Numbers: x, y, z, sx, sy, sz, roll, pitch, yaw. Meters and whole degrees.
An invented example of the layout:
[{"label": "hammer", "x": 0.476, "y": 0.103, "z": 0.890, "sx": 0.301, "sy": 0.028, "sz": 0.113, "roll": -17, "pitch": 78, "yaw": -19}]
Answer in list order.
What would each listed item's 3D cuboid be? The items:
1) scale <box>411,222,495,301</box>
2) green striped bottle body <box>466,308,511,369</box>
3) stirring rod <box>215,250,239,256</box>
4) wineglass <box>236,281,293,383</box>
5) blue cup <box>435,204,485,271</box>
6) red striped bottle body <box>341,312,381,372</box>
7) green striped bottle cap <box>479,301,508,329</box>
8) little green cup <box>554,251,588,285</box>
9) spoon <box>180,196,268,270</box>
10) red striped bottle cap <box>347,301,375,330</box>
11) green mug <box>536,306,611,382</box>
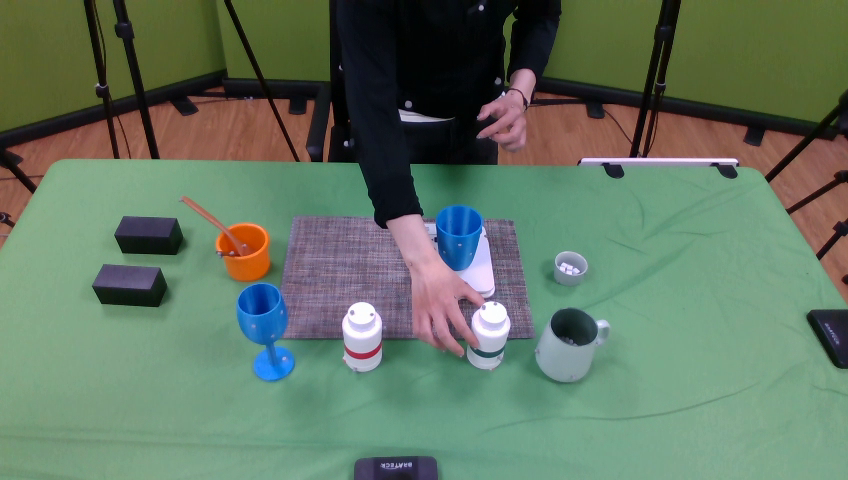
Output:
[{"label": "scale", "x": 0.052, "y": 0.031, "z": 1.158, "sx": 0.149, "sy": 0.032, "sz": 0.199, "roll": 1, "pitch": 46, "yaw": -4}, {"label": "green striped bottle body", "x": 0.105, "y": 0.154, "z": 0.987, "sx": 0.063, "sy": 0.120, "sz": 0.063, "roll": 2, "pitch": 46, "yaw": -2}, {"label": "stirring rod", "x": -0.339, "y": 0.024, "z": 1.059, "sx": 0.014, "sy": 0.176, "sz": 0.006, "roll": 16, "pitch": 86, "yaw": -6}, {"label": "wineglass", "x": -0.243, "y": 0.143, "z": 0.934, "sx": 0.074, "sy": 0.173, "sz": 0.073, "roll": 2, "pitch": 46, "yaw": -2}, {"label": "blue cup", "x": 0.061, "y": 0.001, "z": 1.097, "sx": 0.092, "sy": 0.101, "sz": 0.092, "roll": 0, "pitch": 43, "yaw": 0}, {"label": "red striped bottle body", "x": -0.100, "y": 0.154, "z": 0.972, "sx": 0.063, "sy": 0.120, "sz": 0.062, "roll": 2, "pitch": 46, "yaw": -2}, {"label": "green striped bottle cap", "x": 0.109, "y": 0.118, "z": 0.950, "sx": 0.044, "sy": 0.020, "sz": 0.044, "roll": 2, "pitch": 47, "yaw": -2}, {"label": "little green cup", "x": 0.277, "y": 0.055, "z": 1.151, "sx": 0.061, "sy": 0.039, "sz": 0.061, "roll": 1, "pitch": 46, "yaw": -1}, {"label": "spoon", "x": -0.360, "y": -0.014, "z": 1.094, "sx": 0.021, "sy": 0.194, "sz": 0.041, "roll": -27, "pitch": 26, "yaw": 31}, {"label": "red striped bottle cap", "x": -0.097, "y": 0.116, "z": 0.934, "sx": 0.044, "sy": 0.018, "sz": 0.044, "roll": 3, "pitch": 49, "yaw": -3}, {"label": "green mug", "x": 0.250, "y": 0.167, "z": 0.996, "sx": 0.125, "sy": 0.105, "sz": 0.092, "roll": -15, "pitch": 49, "yaw": -19}]
